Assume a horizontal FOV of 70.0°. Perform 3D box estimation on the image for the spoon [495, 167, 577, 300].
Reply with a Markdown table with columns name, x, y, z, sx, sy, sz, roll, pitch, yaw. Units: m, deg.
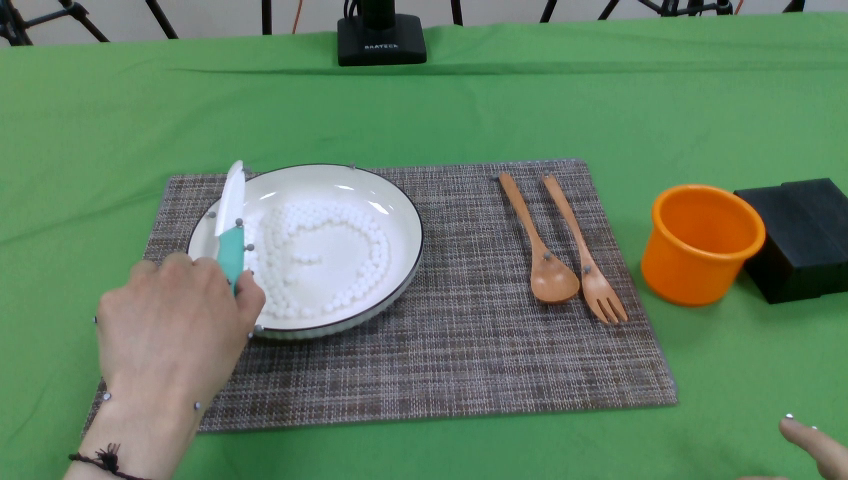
| name | x | y | z | sx | sy | sz | roll | pitch | yaw |
| --- | --- | --- | --- | --- | --- | --- | --- | --- | --- |
| spoon | 0.099 | -0.014 | 0.582 | 0.041 | 0.022 | 0.191 | -20 | 47 | 5 |

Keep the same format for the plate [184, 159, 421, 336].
| name | x | y | z | sx | sy | sz | roll | pitch | yaw |
| --- | --- | --- | --- | --- | --- | --- | --- | --- | --- |
| plate | -0.106 | 0.005 | 0.552 | 0.209 | 0.038 | 0.207 | 1 | 46 | 0 |

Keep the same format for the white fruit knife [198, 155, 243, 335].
| name | x | y | z | sx | sy | sz | roll | pitch | yaw |
| --- | --- | --- | --- | --- | --- | --- | --- | --- | --- |
| white fruit knife | -0.165 | -0.008 | 0.510 | 0.027 | 0.016 | 0.205 | -8 | 47 | -4 |

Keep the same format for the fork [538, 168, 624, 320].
| name | x | y | z | sx | sy | sz | roll | pitch | yaw |
| --- | --- | --- | --- | --- | --- | --- | --- | --- | --- |
| fork | 0.142 | -0.004 | 0.576 | 0.028 | 0.019 | 0.205 | -10 | 49 | -2 |
